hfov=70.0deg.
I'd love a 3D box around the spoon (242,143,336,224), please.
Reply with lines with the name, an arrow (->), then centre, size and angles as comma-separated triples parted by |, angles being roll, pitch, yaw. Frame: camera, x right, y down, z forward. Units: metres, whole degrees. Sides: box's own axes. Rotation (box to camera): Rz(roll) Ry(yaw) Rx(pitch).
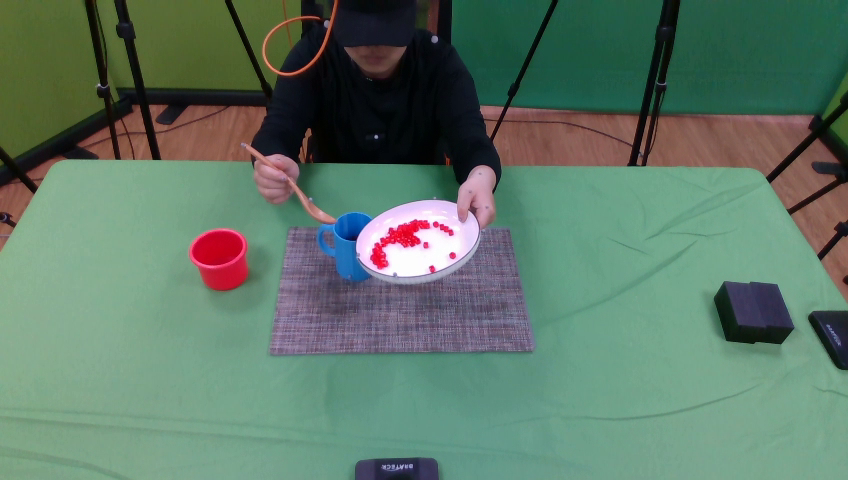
spoon -> -0.217, -0.091, 0.976 | 0.194, 0.021, 0.041 | 45, 17, -2

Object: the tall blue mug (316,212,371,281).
tall blue mug -> -0.142, 0.014, 1.108 | 0.107, 0.108, 0.077 | -5, 47, -9

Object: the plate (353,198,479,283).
plate -> -0.011, 0.004, 0.993 | 0.207, 0.039, 0.206 | -8, 37, 6
